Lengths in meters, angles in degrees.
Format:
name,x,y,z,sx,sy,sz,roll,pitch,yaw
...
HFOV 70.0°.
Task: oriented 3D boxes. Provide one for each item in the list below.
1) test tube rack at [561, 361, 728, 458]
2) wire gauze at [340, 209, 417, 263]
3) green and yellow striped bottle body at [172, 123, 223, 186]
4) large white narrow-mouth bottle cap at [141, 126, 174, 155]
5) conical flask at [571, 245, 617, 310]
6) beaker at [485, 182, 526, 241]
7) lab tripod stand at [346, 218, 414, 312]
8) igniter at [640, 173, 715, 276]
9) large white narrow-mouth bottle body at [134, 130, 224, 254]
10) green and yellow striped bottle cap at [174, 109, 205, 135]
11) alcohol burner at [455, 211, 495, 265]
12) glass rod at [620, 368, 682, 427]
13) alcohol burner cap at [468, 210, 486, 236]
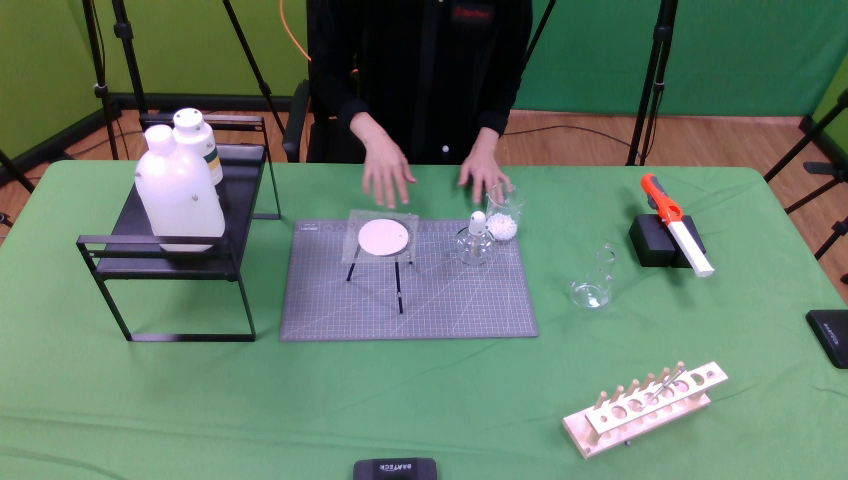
name,x,y,z,sx,sy,sz,roll,pitch,yaw
test tube rack,0.341,0.248,0.940,0.243,0.085,0.066,-15,49,-18
wire gauze,-0.074,-0.006,1.023,0.121,0.011,0.124,3,46,0
green and yellow striped bottle body,-0.373,-0.148,0.994,0.063,0.120,0.063,2,46,-2
large white narrow-mouth bottle cap,-0.356,-0.133,0.811,0.038,0.024,0.037,2,48,-2
conical flask,0.313,0.064,1.089,0.075,0.122,0.075,2,46,-2
beaker,0.159,-0.055,1.205,0.074,0.101,0.084,24,48,17
lab tripod stand,-0.070,0.037,1.075,0.148,0.132,0.147,1,47,-1
igniter,0.495,-0.039,1.204,0.057,0.025,0.274,-2,47,-12
large white narrow-mouth bottle body,-0.358,-0.075,0.875,0.102,0.195,0.101,1,48,-1
green and yellow striped bottle cap,-0.369,-0.186,0.954,0.045,0.020,0.045,3,50,-3
alcohol burner,0.097,-0.010,1.147,0.078,0.120,0.077,1,47,-1
glass rod,0.321,0.229,0.864,0.008,0.200,0.008,5,52,-6
alcohol burner cap,0.100,-0.034,1.119,0.034,0.048,0.033,0,53,0
